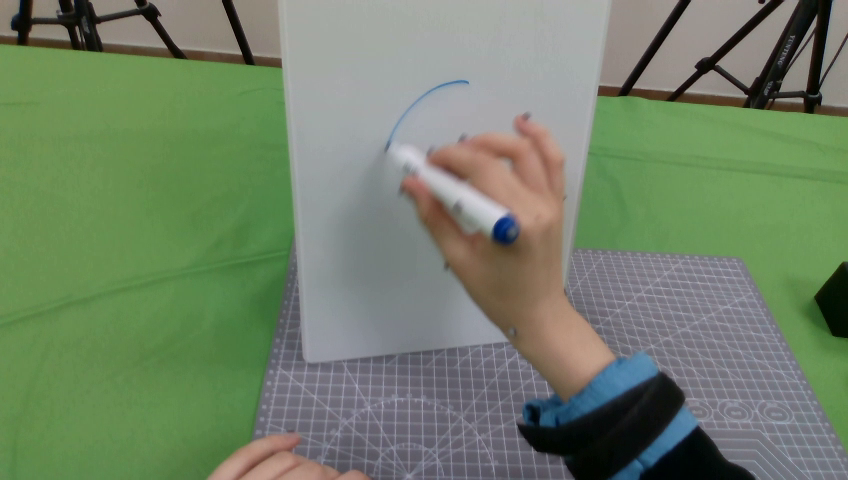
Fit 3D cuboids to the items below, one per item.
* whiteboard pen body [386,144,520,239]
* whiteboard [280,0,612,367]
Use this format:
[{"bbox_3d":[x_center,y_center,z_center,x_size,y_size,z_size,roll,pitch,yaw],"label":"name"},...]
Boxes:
[{"bbox_3d":[0.010,-0.035,0.358,0.017,0.017,0.139,-18,34,-25],"label":"whiteboard pen body"},{"bbox_3d":[0.003,-0.075,0.487,0.218,0.307,0.142,-4,26,-12],"label":"whiteboard"}]
